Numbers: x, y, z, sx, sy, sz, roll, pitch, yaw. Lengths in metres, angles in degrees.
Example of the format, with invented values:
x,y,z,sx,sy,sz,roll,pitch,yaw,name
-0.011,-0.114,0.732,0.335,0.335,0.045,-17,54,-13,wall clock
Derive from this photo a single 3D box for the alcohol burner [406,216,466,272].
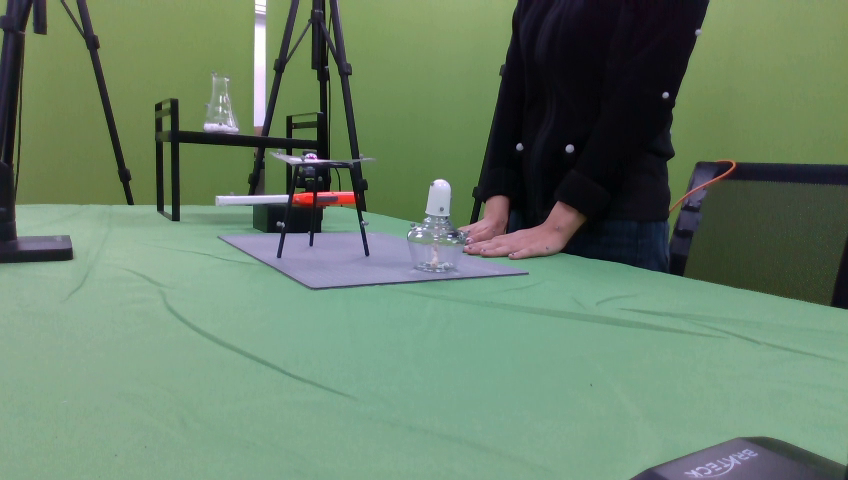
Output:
x,y,z,sx,sy,sz,roll,pitch,yaw,name
0.017,-0.018,0.777,0.078,0.119,0.078,5,7,0,alcohol burner

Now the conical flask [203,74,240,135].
x,y,z,sx,sy,sz,roll,pitch,yaw,name
-0.425,-0.284,1.271,0.075,0.122,0.075,3,7,0,conical flask

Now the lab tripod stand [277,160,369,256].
x,y,z,sx,sy,sz,roll,pitch,yaw,name
-0.149,-0.046,0.861,0.148,0.131,0.148,3,9,0,lab tripod stand

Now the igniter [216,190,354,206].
x,y,z,sx,sy,sz,roll,pitch,yaw,name
-0.248,-0.079,1.143,0.278,0.025,0.057,-5,8,-31,igniter

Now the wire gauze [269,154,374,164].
x,y,z,sx,sy,sz,roll,pitch,yaw,name
-0.146,-0.114,0.860,0.122,0.011,0.124,-2,9,-28,wire gauze

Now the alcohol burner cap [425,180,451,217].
x,y,z,sx,sy,sz,roll,pitch,yaw,name
0.020,-0.053,0.772,0.034,0.048,0.034,6,15,-1,alcohol burner cap
